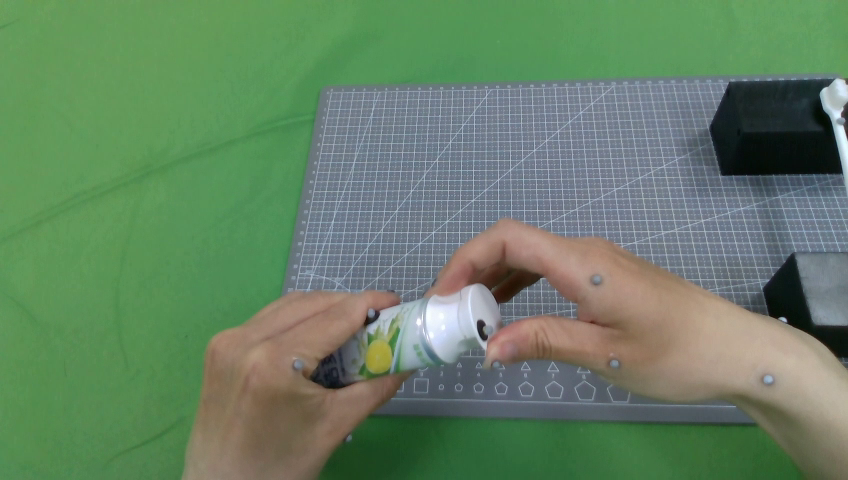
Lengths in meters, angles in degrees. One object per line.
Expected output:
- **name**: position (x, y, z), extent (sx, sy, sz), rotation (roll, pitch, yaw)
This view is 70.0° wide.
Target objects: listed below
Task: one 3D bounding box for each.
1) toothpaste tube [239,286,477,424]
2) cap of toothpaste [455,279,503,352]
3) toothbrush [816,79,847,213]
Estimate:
- **toothpaste tube**: position (-0.039, 0.060, 0.330), extent (0.165, 0.035, 0.055), rotation (-22, 81, 28)
- **cap of toothpaste**: position (0.026, 0.037, 0.292), extent (0.011, 0.038, 0.037), rotation (-21, 53, 28)
- **toothbrush**: position (0.276, -0.033, 0.387), extent (0.014, 0.017, 0.180), rotation (12, 61, -5)
